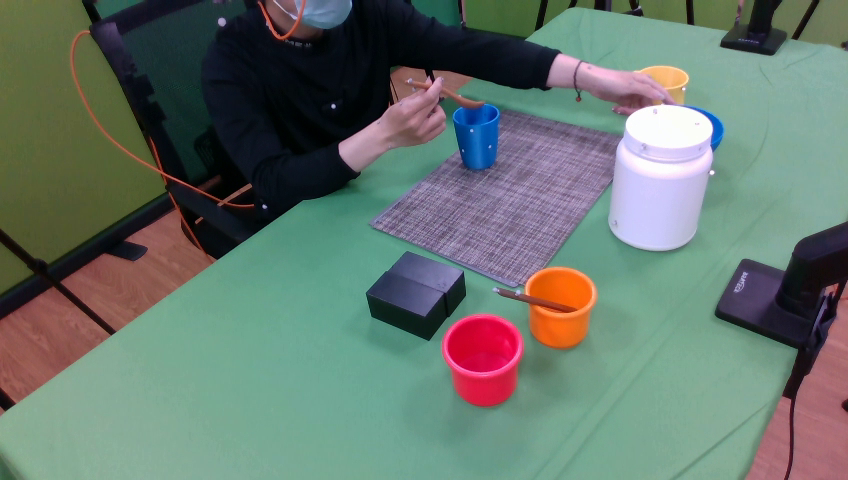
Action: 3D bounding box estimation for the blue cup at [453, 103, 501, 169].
[{"bbox_3d":[0.099,-0.188,1.115,0.092,0.100,0.092,-4,39,4],"label":"blue cup"}]

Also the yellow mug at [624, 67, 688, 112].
[{"bbox_3d":[0.465,-0.305,1.230,0.100,0.064,0.129,-34,46,-27],"label":"yellow mug"}]

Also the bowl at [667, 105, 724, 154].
[{"bbox_3d":[0.438,-0.166,1.063,0.151,0.077,0.150,-4,41,4],"label":"bowl"}]

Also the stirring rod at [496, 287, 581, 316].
[{"bbox_3d":[0.150,0.080,0.773,0.178,0.006,0.014,17,21,-42],"label":"stirring rod"}]

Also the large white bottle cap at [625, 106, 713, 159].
[{"bbox_3d":[0.342,-0.153,0.848,0.115,0.018,0.114,-4,41,4],"label":"large white bottle cap"}]

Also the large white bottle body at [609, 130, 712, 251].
[{"bbox_3d":[0.351,-0.090,0.904,0.130,0.185,0.130,-5,41,4],"label":"large white bottle body"}]

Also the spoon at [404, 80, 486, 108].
[{"bbox_3d":[0.036,-0.246,1.016,0.041,0.021,0.195,7,1,44],"label":"spoon"}]
